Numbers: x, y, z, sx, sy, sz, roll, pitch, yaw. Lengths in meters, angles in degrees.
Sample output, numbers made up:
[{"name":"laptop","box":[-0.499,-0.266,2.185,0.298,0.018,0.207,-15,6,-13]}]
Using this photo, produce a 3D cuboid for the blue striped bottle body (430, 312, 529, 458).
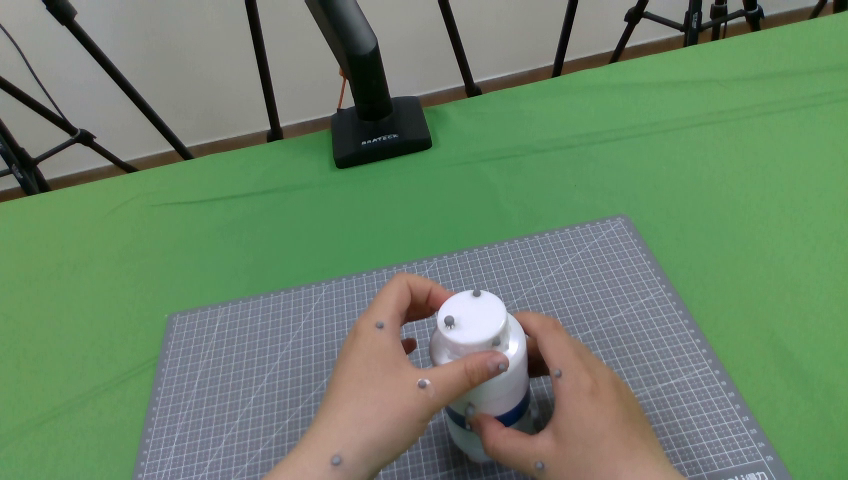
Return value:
[{"name":"blue striped bottle body","box":[0.038,0.090,0.405,0.063,0.122,0.062,-5,44,5]}]

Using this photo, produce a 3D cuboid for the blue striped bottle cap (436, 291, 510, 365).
[{"name":"blue striped bottle cap","box":[0.030,0.053,0.370,0.044,0.021,0.044,-9,42,9]}]
